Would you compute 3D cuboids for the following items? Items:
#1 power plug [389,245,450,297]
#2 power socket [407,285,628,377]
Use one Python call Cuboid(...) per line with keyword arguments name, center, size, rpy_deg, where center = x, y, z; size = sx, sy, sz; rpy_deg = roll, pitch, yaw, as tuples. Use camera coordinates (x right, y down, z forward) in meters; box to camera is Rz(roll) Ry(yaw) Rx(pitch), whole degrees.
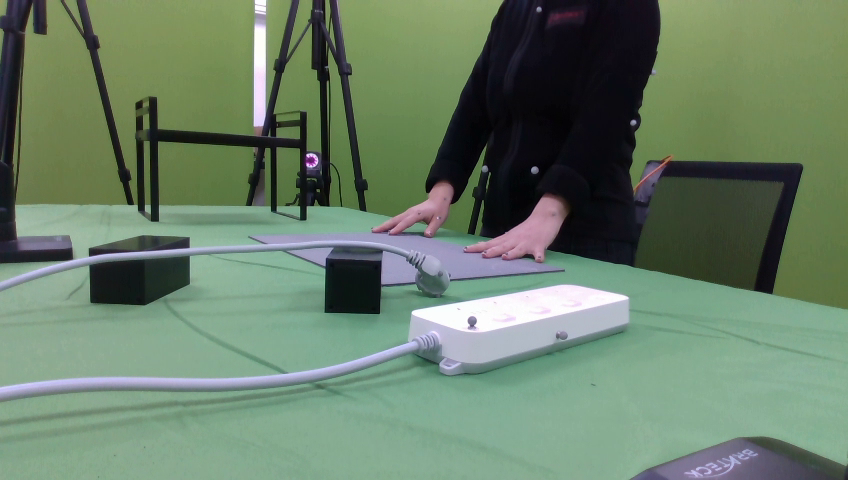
Cuboid(name="power plug", center=(-0.004, 0.029, 0.629), size=(0.035, 0.072, 0.052), rpy_deg=(-47, -5, -31))
Cuboid(name="power socket", center=(0.083, 0.065, 0.486), size=(0.228, 0.032, 0.072), rpy_deg=(-5, 9, -42))
